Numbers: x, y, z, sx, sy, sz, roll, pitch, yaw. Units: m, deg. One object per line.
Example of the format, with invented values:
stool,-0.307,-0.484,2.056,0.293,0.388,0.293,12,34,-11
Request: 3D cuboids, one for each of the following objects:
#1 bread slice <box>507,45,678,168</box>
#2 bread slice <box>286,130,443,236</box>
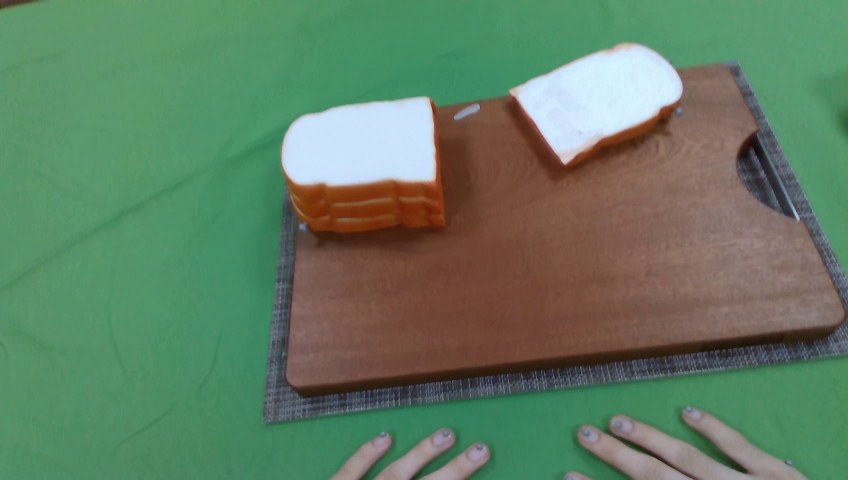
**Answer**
bread slice,0.154,-0.123,0.535,0.131,0.019,0.103,-25,53,-1
bread slice,-0.052,-0.052,0.529,0.134,0.018,0.106,-3,54,3
